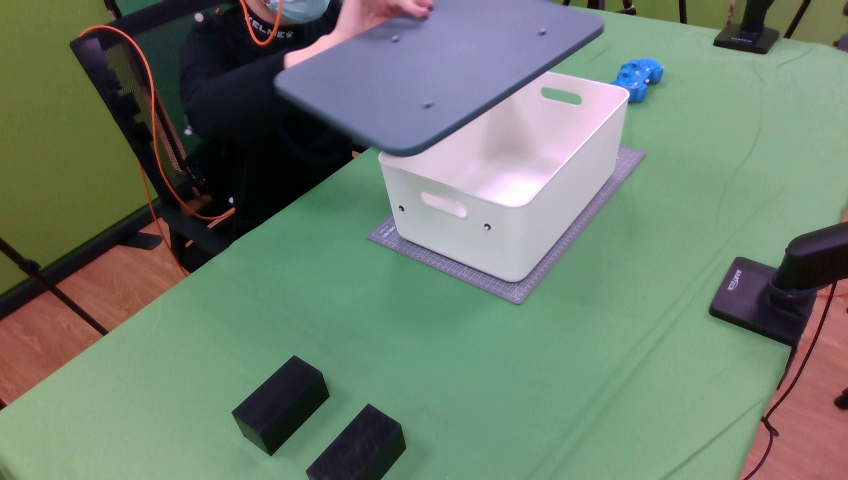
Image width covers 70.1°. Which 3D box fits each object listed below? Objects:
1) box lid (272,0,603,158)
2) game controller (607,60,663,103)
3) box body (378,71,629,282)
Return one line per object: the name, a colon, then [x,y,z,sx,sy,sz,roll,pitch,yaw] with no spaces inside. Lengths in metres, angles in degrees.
box lid: [0.021,-0.234,0.764,0.373,0.015,0.261,-37,51,-26]
game controller: [0.442,-0.345,1.288,0.096,0.052,0.155,25,50,27]
box body: [0.137,-0.121,0.978,0.252,0.161,0.365,22,48,30]
